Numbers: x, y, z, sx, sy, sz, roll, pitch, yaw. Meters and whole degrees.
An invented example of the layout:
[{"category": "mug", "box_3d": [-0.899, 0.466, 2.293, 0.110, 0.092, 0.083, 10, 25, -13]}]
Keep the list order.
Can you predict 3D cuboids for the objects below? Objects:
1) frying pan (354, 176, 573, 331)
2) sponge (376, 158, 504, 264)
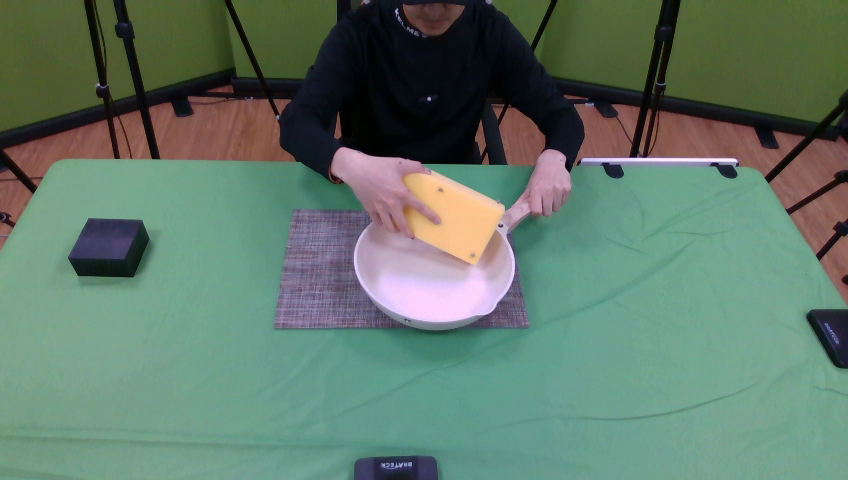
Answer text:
[{"category": "frying pan", "box_3d": [0.103, -0.001, 1.142, 0.488, 0.103, 0.305, -31, 56, -19]}, {"category": "sponge", "box_3d": [0.031, -0.054, 1.128, 0.207, 0.118, 0.060, 25, 18, -2]}]
